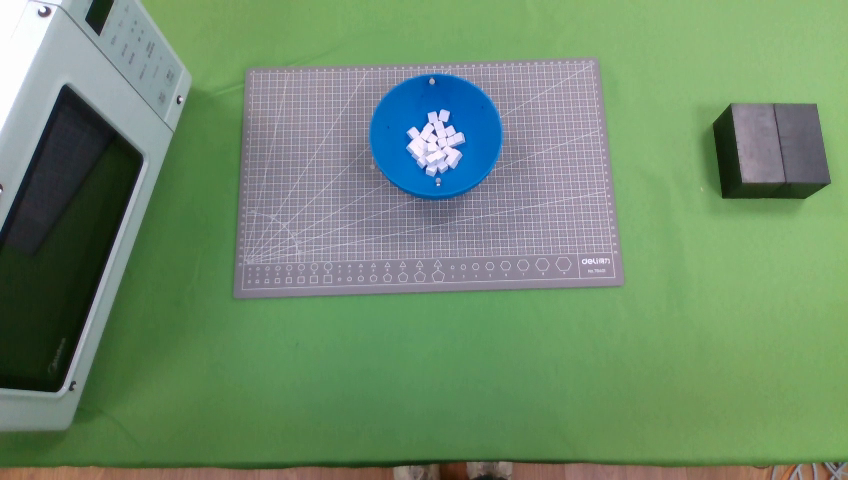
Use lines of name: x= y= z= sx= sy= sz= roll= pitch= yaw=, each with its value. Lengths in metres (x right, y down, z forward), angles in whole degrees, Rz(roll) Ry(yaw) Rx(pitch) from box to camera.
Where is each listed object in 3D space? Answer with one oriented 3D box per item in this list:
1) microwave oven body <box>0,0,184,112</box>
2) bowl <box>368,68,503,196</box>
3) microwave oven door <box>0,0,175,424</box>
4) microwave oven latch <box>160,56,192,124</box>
microwave oven body: x=-0.491 y=-0.073 z=0.603 sx=0.326 sy=0.261 sz=0.439 roll=12 pitch=76 yaw=3
bowl: x=0.013 y=-0.113 z=0.704 sx=0.151 sy=0.077 sz=0.150 roll=0 pitch=75 yaw=1
microwave oven door: x=-0.357 y=-0.006 z=0.578 sx=0.039 sy=0.245 sz=0.354 roll=11 pitch=75 yaw=4
microwave oven latch: x=-0.306 y=-0.183 z=0.732 sx=0.030 sy=0.029 sz=0.079 roll=13 pitch=76 yaw=4
